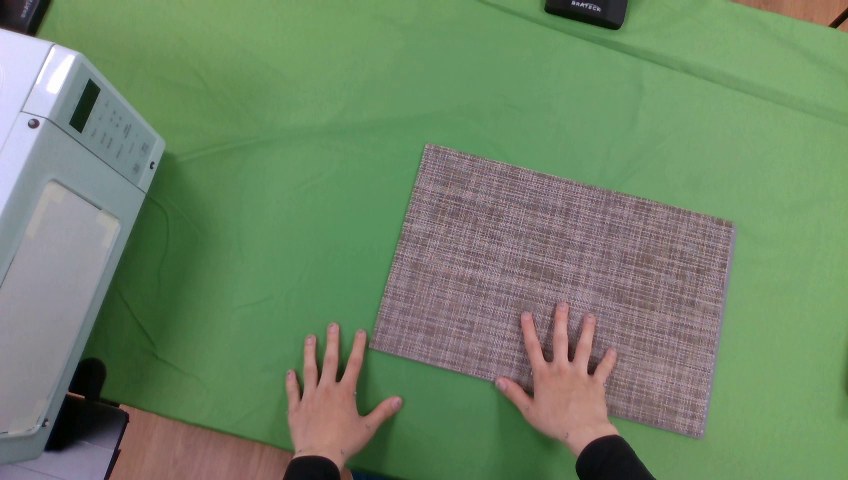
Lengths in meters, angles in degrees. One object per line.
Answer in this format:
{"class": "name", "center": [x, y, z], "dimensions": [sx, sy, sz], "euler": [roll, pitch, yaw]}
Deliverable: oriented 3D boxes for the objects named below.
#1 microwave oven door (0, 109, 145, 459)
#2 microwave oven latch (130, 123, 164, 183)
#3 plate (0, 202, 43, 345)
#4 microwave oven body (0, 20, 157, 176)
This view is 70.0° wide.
{"class": "microwave oven door", "center": [-0.433, 0.064, 0.666], "dimensions": [0.039, 0.244, 0.354], "euler": [15, 77, 2]}
{"class": "microwave oven latch", "center": [-0.376, -0.119, 0.811], "dimensions": [0.030, 0.029, 0.079], "euler": [18, 78, 1]}
{"class": "plate", "center": [-0.561, 0.045, 0.729], "dimensions": [0.209, 0.038, 0.208], "euler": [1, 79, -3]}
{"class": "microwave oven body", "center": [-0.563, -0.013, 0.682], "dimensions": [0.326, 0.261, 0.440], "euler": [16, 78, 1]}
